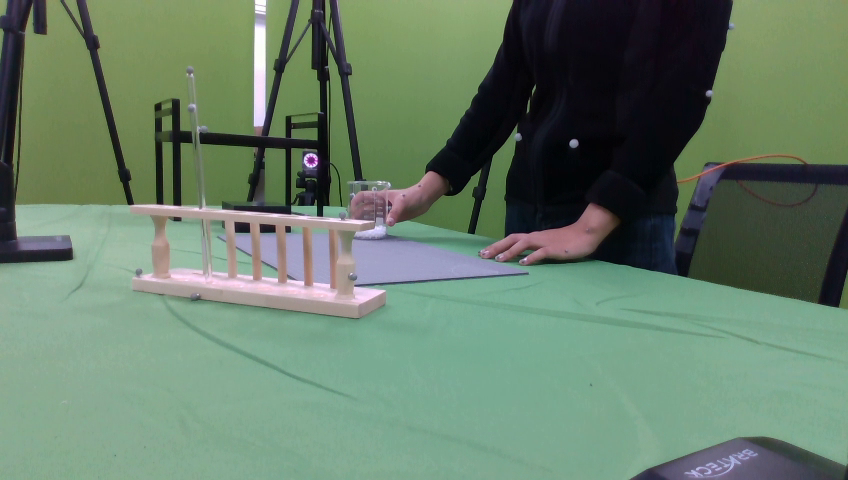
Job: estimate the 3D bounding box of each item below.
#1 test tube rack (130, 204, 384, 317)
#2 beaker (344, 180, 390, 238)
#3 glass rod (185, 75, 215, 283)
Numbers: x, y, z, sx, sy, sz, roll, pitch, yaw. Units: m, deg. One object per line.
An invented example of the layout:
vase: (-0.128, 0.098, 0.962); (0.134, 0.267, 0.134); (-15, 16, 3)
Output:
test tube rack: (-0.163, 0.013, 0.589); (0.242, 0.085, 0.067); (5, 8, 17)
beaker: (-0.097, -0.056, 1.063); (0.083, 0.100, 0.074); (3, 8, 22)
glass rod: (-0.210, -0.052, 0.568); (0.008, 0.199, 0.008); (-1, 15, 1)
